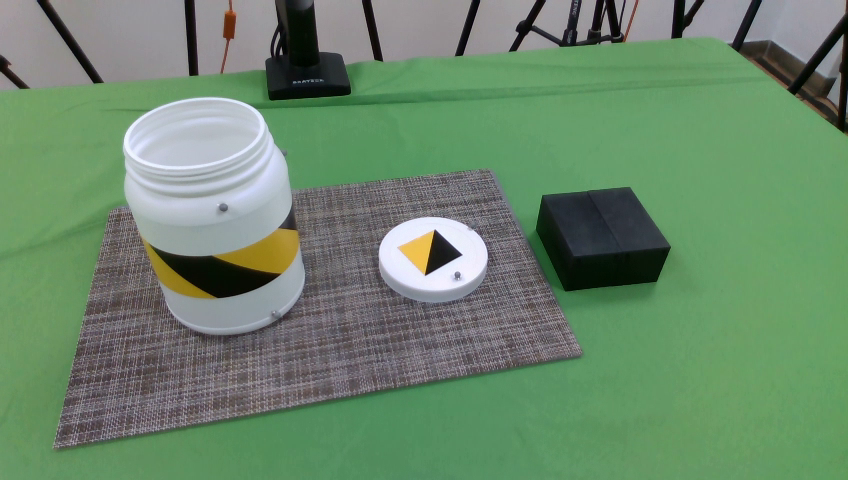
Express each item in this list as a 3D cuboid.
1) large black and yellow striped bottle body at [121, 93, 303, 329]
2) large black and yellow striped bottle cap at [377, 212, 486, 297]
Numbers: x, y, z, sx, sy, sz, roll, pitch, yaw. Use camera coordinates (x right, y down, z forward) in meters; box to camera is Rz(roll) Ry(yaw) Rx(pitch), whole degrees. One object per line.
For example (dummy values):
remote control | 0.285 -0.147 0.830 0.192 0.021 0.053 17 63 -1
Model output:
large black and yellow striped bottle body | -0.184 -0.024 0.541 0.131 0.185 0.129 1 43 -1
large black and yellow striped bottle cap | 0.008 0.012 0.635 0.115 0.019 0.114 0 42 0
